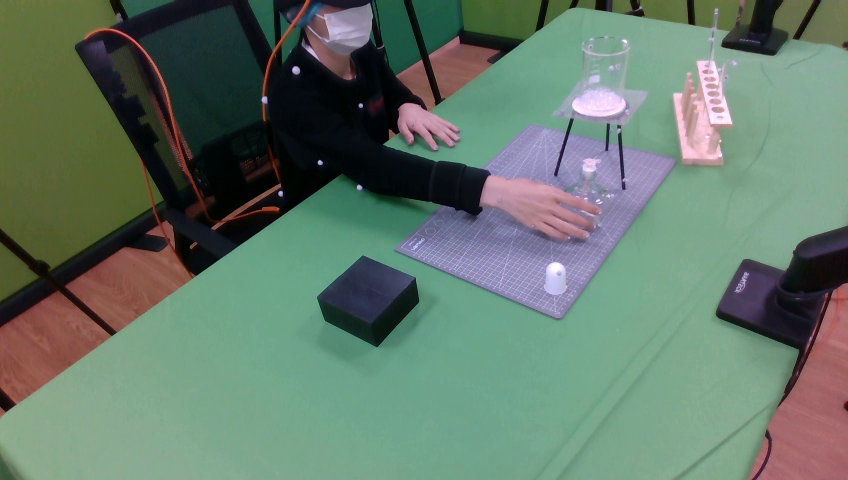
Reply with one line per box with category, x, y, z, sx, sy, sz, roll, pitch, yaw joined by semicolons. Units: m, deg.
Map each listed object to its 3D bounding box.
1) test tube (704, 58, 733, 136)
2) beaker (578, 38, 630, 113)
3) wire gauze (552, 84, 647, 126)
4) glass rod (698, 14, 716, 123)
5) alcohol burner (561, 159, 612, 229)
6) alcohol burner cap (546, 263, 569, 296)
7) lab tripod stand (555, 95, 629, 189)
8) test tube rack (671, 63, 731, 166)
test tube;0.516;-0.247;1.062;0.017;0.151;0.017;-3;43;4
beaker;0.290;-0.265;0.976;0.084;0.101;0.073;-18;41;-14
wire gauze;0.293;-0.224;1.004;0.120;0.011;0.125;19;43;26
glass rod;0.531;-0.320;1.137;0.008;0.200;0.008;3;12;0
alcohol burner;0.257;-0.077;0.951;0.078;0.119;0.077;-3;40;3
alcohol burner cap;0.191;0.053;0.862;0.034;0.048;0.033;-5;40;4
lab tripod stand;0.300;-0.174;1.045;0.148;0.132;0.147;-5;38;5
test tube rack;0.513;-0.240;1.132;0.066;0.085;0.242;4;41;14
